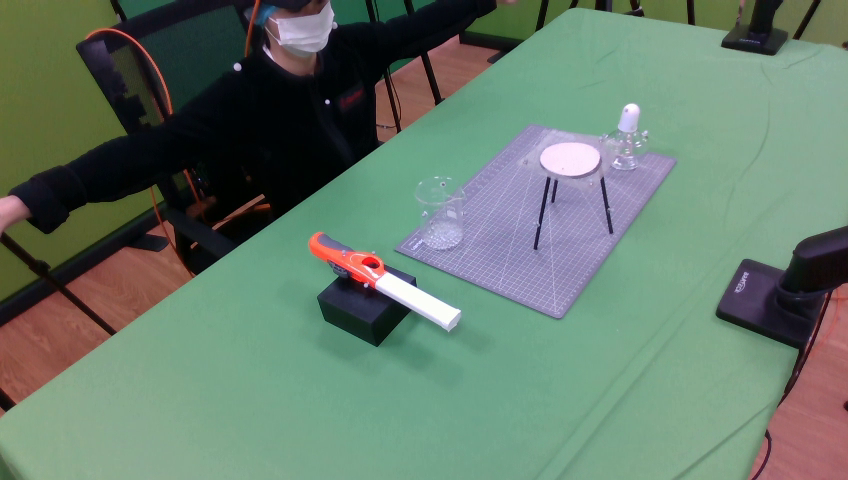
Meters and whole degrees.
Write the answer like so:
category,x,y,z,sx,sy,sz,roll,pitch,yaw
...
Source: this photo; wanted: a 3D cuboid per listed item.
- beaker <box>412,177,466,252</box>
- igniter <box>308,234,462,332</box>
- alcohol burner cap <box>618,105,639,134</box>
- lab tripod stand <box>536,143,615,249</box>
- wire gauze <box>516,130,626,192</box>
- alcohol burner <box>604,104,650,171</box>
category,x,y,z,sx,sy,sz,roll,pitch,yaw
beaker,0.029,-0.038,0.952,0.083,0.101,0.074,9,43,18
igniter,-0.066,0.053,0.846,0.274,0.025,0.057,26,49,29
alcohol burner cap,0.353,-0.208,1.036,0.034,0.048,0.033,-2,46,3
lab tripod stand,0.224,-0.069,0.931,0.148,0.132,0.147,-4,42,4
wire gauze,0.216,-0.124,0.892,0.124,0.011,0.122,22,49,31
alcohol burner,0.357,-0.182,1.060,0.078,0.119,0.077,-6,40,6
